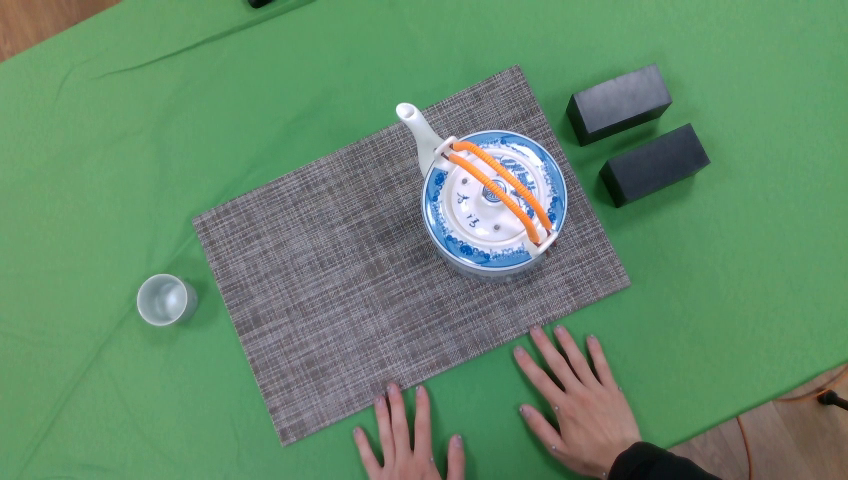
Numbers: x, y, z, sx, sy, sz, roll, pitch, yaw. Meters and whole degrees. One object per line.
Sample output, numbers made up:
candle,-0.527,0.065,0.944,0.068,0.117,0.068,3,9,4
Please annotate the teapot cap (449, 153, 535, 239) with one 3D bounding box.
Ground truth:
teapot cap,0.065,-0.043,0.576,0.085,0.044,0.085,-1,79,4

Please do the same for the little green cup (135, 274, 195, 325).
little green cup,-0.309,0.072,0.729,0.061,0.039,0.061,-1,82,5

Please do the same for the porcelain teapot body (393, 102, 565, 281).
porcelain teapot body,0.046,-0.056,0.619,0.204,0.226,0.145,42,88,9
